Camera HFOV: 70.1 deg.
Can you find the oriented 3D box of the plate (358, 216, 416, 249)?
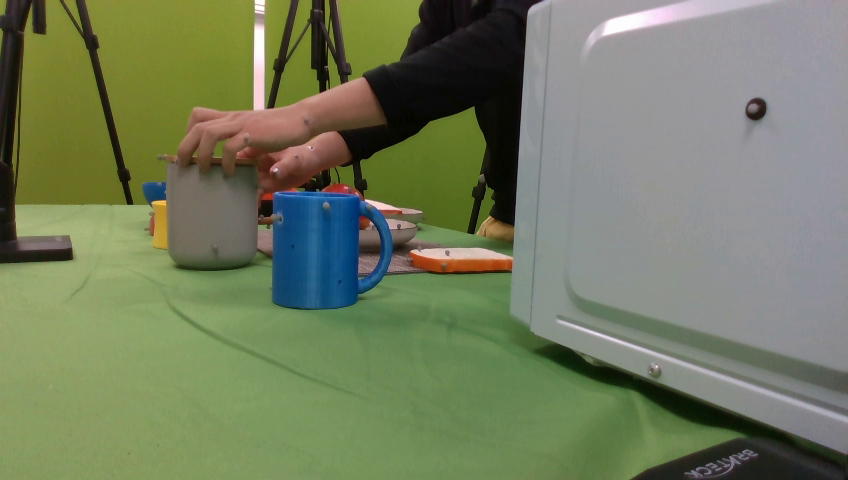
[{"bbox_3d":[-0.116,-0.014,0.967,0.208,0.039,0.207,2,7,0],"label":"plate"}]

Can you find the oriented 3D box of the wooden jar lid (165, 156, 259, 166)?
[{"bbox_3d":[-0.260,-0.092,0.745,0.108,0.020,0.108,2,10,0],"label":"wooden jar lid"}]

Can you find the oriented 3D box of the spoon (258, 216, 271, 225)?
[{"bbox_3d":[-0.199,-0.033,0.960,0.041,0.021,0.194,-32,-14,26],"label":"spoon"}]

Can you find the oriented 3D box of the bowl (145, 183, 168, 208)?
[{"bbox_3d":[-0.459,-0.069,1.175,0.151,0.077,0.151,2,7,0],"label":"bowl"}]

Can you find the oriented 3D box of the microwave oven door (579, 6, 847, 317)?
[{"bbox_3d":[0.294,-0.067,0.570,0.358,0.243,0.039,-3,9,-31],"label":"microwave oven door"}]

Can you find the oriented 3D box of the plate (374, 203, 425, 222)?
[{"bbox_3d":[-0.102,-0.053,1.299,0.209,0.038,0.209,2,8,0],"label":"plate"}]

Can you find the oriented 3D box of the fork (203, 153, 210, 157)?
[{"bbox_3d":[-0.480,-0.135,1.411,0.028,0.018,0.207,1,-34,0],"label":"fork"}]

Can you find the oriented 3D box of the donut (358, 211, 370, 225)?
[{"bbox_3d":[-0.132,-0.042,0.959,0.099,0.048,0.099,0,7,0],"label":"donut"}]

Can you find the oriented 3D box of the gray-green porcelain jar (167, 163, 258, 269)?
[{"bbox_3d":[-0.261,-0.031,0.753,0.106,0.126,0.106,2,7,0],"label":"gray-green porcelain jar"}]

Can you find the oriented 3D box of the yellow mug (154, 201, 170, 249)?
[{"bbox_3d":[-0.337,-0.023,0.899,0.130,0.064,0.100,8,9,34],"label":"yellow mug"}]

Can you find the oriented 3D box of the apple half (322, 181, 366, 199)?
[{"bbox_3d":[-0.128,-0.077,0.954,0.081,0.033,0.081,5,15,-1],"label":"apple half"}]

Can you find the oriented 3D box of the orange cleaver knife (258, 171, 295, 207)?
[{"bbox_3d":[-0.283,-0.086,1.343,0.212,0.077,0.012,24,-16,-41],"label":"orange cleaver knife"}]

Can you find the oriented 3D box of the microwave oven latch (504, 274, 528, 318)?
[{"bbox_3d":[0.100,0.041,0.469,0.079,0.029,0.030,-1,7,-25],"label":"microwave oven latch"}]

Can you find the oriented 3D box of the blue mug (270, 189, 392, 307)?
[{"bbox_3d":[-0.089,0.005,0.588,0.117,0.106,0.082,0,7,-10],"label":"blue mug"}]

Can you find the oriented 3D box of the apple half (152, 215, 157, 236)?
[{"bbox_3d":[-0.415,-0.034,1.017,0.081,0.053,0.074,1,10,-9],"label":"apple half"}]

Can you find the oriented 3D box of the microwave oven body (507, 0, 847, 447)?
[{"bbox_3d":[0.331,-0.042,0.425,0.444,0.260,0.324,-2,8,-31],"label":"microwave oven body"}]

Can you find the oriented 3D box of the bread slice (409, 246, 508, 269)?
[{"bbox_3d":[0.048,0.021,0.816,0.132,0.019,0.104,0,7,-24],"label":"bread slice"}]

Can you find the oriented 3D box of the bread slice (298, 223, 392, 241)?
[{"bbox_3d":[-0.120,-0.015,0.969,0.106,0.018,0.135,9,9,41],"label":"bread slice"}]
